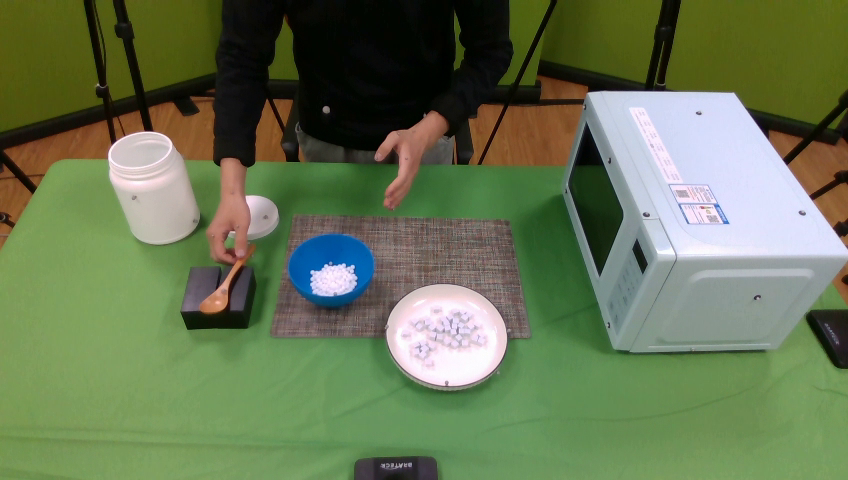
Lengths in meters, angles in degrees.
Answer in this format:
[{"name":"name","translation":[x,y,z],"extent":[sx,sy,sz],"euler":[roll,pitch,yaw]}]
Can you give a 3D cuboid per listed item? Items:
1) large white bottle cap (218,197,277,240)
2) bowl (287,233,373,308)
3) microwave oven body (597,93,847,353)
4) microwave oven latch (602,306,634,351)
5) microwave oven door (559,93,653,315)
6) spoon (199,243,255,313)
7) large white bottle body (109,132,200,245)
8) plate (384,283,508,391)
[{"name":"large white bottle cap","translation":[-0.355,-0.044,1.220],"extent":[0.115,0.018,0.114],"euler":[2,46,-2]},{"name":"bowl","translation":[-0.165,0.068,1.078],"extent":[0.151,0.077,0.150],"euler":[3,45,-3]},{"name":"microwave oven body","translation":[0.475,-0.041,1.109],"extent":[0.326,0.261,0.438],"euler":[-1,45,-4]},{"name":"microwave oven latch","translation":[0.332,0.153,1.044],"extent":[0.030,0.029,0.078],"euler":[0,45,-4]},{"name":"microwave oven door","translation":[0.327,-0.074,1.123],"extent":[0.039,0.245,0.353],"euler":[-1,46,-5]},{"name":"spoon","translation":[-0.333,0.062,1.051],"extent":[0.041,0.022,0.193],"euler":[7,40,8]},{"name":"large white bottle body","translation":[-0.506,-0.097,1.141],"extent":[0.131,0.185,0.130],"euler":[2,46,-2]},{"name":"plate","translation":[0.036,0.165,1.029],"extent":[0.209,0.038,0.208],"euler":[2,49,-2]}]
